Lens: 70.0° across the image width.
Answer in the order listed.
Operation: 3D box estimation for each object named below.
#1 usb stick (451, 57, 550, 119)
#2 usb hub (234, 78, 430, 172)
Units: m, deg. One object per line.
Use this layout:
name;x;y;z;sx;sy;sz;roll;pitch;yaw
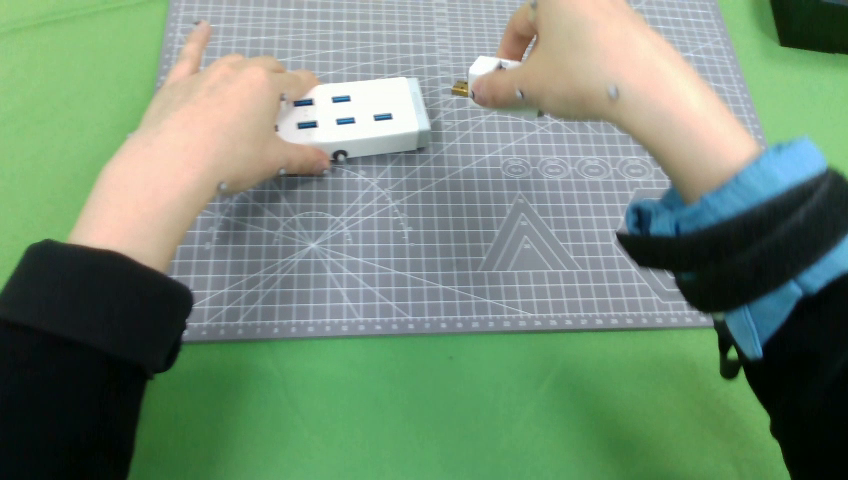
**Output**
usb stick;0.045;-0.093;0.367;0.059;0.027;0.021;14;48;21
usb hub;-0.062;-0.080;0.412;0.125;0.025;0.049;-9;65;-12
